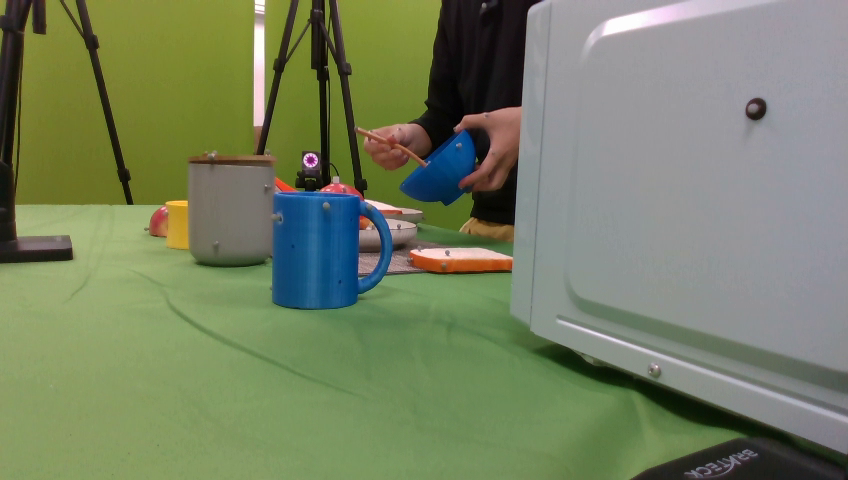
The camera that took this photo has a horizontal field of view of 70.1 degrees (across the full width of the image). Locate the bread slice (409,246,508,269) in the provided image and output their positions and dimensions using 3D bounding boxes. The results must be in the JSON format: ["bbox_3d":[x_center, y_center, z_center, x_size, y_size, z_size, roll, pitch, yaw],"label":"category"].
[{"bbox_3d":[0.048,0.022,0.816,0.132,0.019,0.104,0,7,-24],"label":"bread slice"}]

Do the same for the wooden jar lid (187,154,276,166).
[{"bbox_3d":[-0.244,-0.097,0.771,0.108,0.020,0.108,-1,7,0],"label":"wooden jar lid"}]

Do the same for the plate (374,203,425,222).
[{"bbox_3d":[-0.102,-0.053,1.299,0.209,0.038,0.209,2,8,0],"label":"plate"}]

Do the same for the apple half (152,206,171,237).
[{"bbox_3d":[-0.415,-0.034,1.017,0.081,0.053,0.074,1,10,-9],"label":"apple half"}]

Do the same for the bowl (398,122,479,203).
[{"bbox_3d":[0.038,-0.115,1.002,0.151,0.077,0.151,-42,9,9],"label":"bowl"}]

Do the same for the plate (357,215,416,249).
[{"bbox_3d":[-0.116,-0.014,0.967,0.208,0.039,0.207,2,7,0],"label":"plate"}]

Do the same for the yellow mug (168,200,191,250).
[{"bbox_3d":[-0.320,-0.023,0.904,0.130,0.064,0.100,8,10,36],"label":"yellow mug"}]

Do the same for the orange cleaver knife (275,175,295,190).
[{"bbox_3d":[-0.283,-0.087,1.343,0.212,0.077,0.012,24,-16,-41],"label":"orange cleaver knife"}]

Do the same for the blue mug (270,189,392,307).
[{"bbox_3d":[-0.090,0.005,0.588,0.117,0.106,0.082,0,7,-11],"label":"blue mug"}]

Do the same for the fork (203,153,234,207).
[{"bbox_3d":[-0.480,-0.135,1.411,0.028,0.018,0.207,1,-34,0],"label":"fork"}]

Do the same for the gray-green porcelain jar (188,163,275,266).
[{"bbox_3d":[-0.246,-0.034,0.779,0.106,0.126,0.106,2,7,0],"label":"gray-green porcelain jar"}]

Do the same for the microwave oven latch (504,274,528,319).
[{"bbox_3d":[0.100,0.041,0.470,0.079,0.029,0.030,-1,7,-27],"label":"microwave oven latch"}]

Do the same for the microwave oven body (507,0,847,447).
[{"bbox_3d":[0.331,-0.042,0.425,0.444,0.260,0.324,-2,8,-31],"label":"microwave oven body"}]

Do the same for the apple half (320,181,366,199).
[{"bbox_3d":[-0.130,-0.077,0.952,0.081,0.033,0.081,3,15,0],"label":"apple half"}]

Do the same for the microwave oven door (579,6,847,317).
[{"bbox_3d":[0.294,-0.067,0.570,0.358,0.243,0.039,-3,9,-31],"label":"microwave oven door"}]

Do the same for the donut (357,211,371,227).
[{"bbox_3d":[-0.132,-0.041,0.959,0.099,0.048,0.099,3,8,0],"label":"donut"}]

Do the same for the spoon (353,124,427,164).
[{"bbox_3d":[-0.029,-0.151,1.011,0.194,0.021,0.041,29,5,-4],"label":"spoon"}]

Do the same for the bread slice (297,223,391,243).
[{"bbox_3d":[-0.121,-0.013,0.971,0.106,0.018,0.135,9,11,41],"label":"bread slice"}]
